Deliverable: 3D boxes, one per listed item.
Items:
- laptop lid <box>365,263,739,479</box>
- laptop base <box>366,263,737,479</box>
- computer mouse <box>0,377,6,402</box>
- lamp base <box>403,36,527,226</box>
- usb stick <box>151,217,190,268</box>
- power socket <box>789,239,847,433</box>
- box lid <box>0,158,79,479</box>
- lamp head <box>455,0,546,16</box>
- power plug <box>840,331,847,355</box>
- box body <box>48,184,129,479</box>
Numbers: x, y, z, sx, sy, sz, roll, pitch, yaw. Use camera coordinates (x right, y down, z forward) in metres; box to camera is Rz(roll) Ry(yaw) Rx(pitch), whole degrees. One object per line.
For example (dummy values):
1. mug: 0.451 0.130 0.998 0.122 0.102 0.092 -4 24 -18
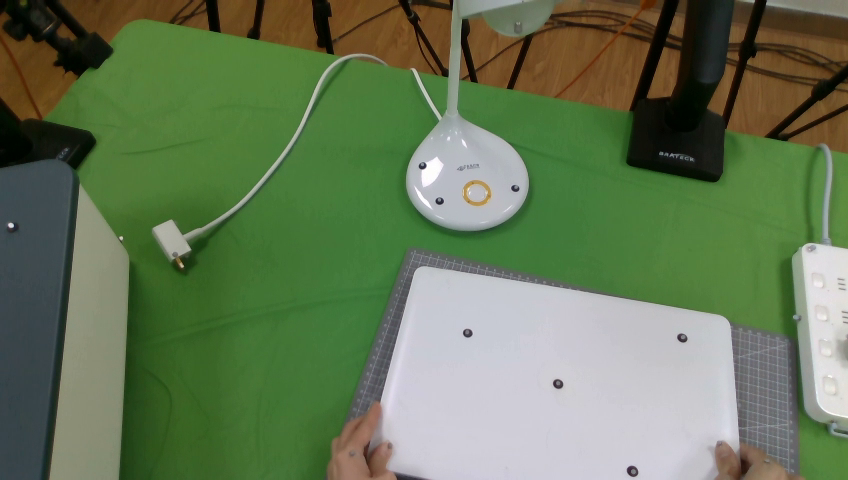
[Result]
1. laptop lid: 0.136 0.146 0.621 0.356 0.013 0.240 10 57 8
2. laptop base: 0.136 0.151 0.633 0.354 0.023 0.233 9 58 7
3. computer mouse: -0.468 0.178 0.610 0.063 0.041 0.116 -38 24 -10
4. lamp base: 0.046 -0.135 0.726 0.161 0.182 0.177 -21 57 -12
5. usb stick: -0.302 0.004 0.731 0.027 0.021 0.059 -28 92 -33
6. power socket: 0.448 0.095 0.662 0.072 0.033 0.225 12 59 7
7. box lid: -0.444 0.088 0.520 0.263 0.015 0.367 -11 59 -6
8. lamp head: 0.068 -0.240 0.461 0.112 0.112 0.123 -14 102 -7
9. power plug: 0.468 0.115 0.622 0.072 0.053 0.035 21 60 13
10. box body: -0.443 0.129 0.582 0.254 0.162 0.360 -11 59 -6
